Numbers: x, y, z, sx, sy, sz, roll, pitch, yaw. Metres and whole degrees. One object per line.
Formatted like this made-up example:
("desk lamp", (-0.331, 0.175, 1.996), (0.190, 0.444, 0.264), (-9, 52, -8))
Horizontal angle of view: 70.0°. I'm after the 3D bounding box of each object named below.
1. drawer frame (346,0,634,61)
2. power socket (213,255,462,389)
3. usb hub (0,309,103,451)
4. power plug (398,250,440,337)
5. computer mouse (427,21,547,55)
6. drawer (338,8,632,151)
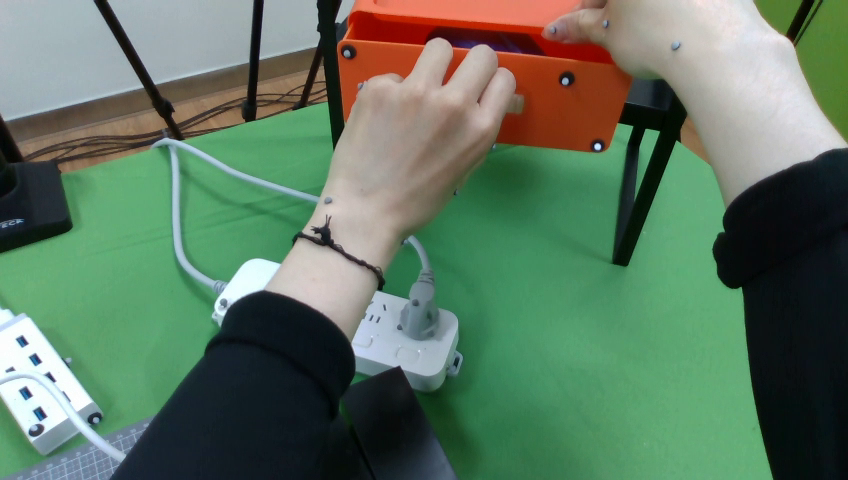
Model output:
("drawer frame", (0.055, -0.199, 0.511), (0.201, 0.083, 0.211), (5, 46, 2))
("power socket", (-0.077, 0.069, 0.533), (0.226, 0.033, 0.072), (15, 47, 11))
("usb hub", (-0.316, 0.109, 0.489), (0.124, 0.025, 0.049), (35, 55, 27))
("power plug", (0.004, 0.053, 0.523), (0.035, 0.053, 0.072), (23, 51, 19))
("computer mouse", (0.057, -0.149, 0.484), (0.063, 0.041, 0.116), (-26, 59, -29))
("drawer", (0.050, -0.168, 0.484), (0.194, 0.074, 0.210), (6, 46, 4))
